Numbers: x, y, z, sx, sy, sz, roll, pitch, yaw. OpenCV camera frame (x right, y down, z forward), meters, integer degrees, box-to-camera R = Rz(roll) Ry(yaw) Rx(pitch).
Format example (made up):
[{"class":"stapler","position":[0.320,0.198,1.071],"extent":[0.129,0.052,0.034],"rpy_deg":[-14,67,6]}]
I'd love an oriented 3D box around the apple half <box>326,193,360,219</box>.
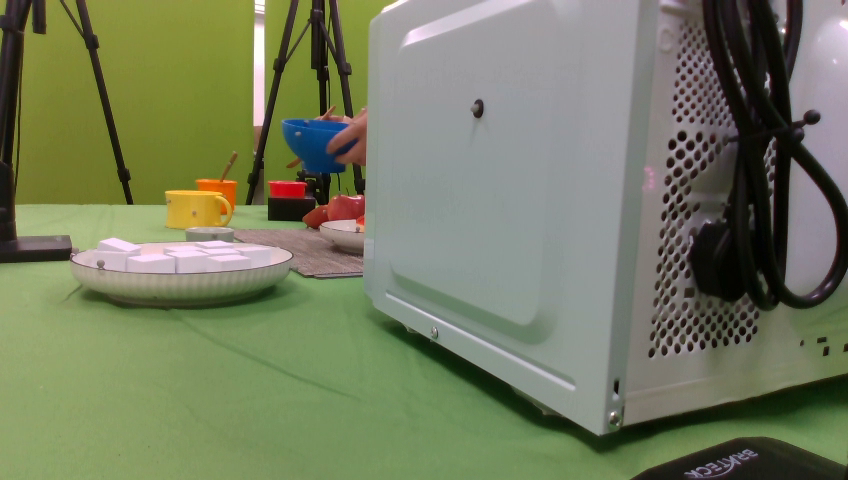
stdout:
[{"class":"apple half","position":[-0.135,-0.047,1.090],"extent":[0.081,0.074,0.053],"rpy_deg":[4,11,-12]}]

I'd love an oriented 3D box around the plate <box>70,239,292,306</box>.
[{"class":"plate","position":[-0.242,0.032,0.618],"extent":[0.208,0.039,0.207],"rpy_deg":[3,8,0]}]

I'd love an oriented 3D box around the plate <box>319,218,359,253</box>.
[{"class":"plate","position":[-0.059,-0.007,0.939],"extent":[0.209,0.038,0.209],"rpy_deg":[3,8,0]}]

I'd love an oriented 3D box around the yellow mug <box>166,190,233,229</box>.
[{"class":"yellow mug","position":[-0.415,-0.057,1.131],"extent":[0.130,0.064,0.100],"rpy_deg":[6,8,16]}]

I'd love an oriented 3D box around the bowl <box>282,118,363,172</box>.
[{"class":"bowl","position":[-0.171,-0.163,1.047],"extent":[0.151,0.077,0.151],"rpy_deg":[6,16,-1]}]

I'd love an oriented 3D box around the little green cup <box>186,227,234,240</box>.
[{"class":"little green cup","position":[-0.285,0.005,0.805],"extent":[0.061,0.038,0.061],"rpy_deg":[2,8,0]}]

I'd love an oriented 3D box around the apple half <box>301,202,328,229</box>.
[{"class":"apple half","position":[-0.195,-0.043,1.172],"extent":[0.081,0.032,0.081],"rpy_deg":[-21,-16,-6]}]

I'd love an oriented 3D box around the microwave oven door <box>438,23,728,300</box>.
[{"class":"microwave oven door","position":[0.181,-0.072,0.620],"extent":[0.358,0.243,0.039],"rpy_deg":[-2,8,-29]}]

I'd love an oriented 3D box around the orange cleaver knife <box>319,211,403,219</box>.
[{"class":"orange cleaver knife","position":[-0.142,-0.056,1.394],"extent":[0.077,0.012,0.212],"rpy_deg":[4,7,44]}]

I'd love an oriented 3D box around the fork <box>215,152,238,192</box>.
[{"class":"fork","position":[-0.455,-0.132,1.367],"extent":[0.028,0.018,0.207],"rpy_deg":[-3,-35,-38]}]

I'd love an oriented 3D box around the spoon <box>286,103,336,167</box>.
[{"class":"spoon","position":[-0.267,-0.249,1.430],"extent":[0.021,0.193,0.041],"rpy_deg":[31,-10,-5]}]

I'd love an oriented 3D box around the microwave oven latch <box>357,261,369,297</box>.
[{"class":"microwave oven latch","position":[-0.019,0.033,0.530],"extent":[0.079,0.029,0.030],"rpy_deg":[-1,7,-27]}]

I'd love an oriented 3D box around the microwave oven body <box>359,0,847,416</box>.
[{"class":"microwave oven body","position":[0.211,-0.047,0.474],"extent":[0.444,0.260,0.324],"rpy_deg":[-1,7,-28]}]

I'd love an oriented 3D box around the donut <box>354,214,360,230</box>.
[{"class":"donut","position":[-0.062,-0.020,0.955],"extent":[0.099,0.048,0.099],"rpy_deg":[5,6,0]}]
